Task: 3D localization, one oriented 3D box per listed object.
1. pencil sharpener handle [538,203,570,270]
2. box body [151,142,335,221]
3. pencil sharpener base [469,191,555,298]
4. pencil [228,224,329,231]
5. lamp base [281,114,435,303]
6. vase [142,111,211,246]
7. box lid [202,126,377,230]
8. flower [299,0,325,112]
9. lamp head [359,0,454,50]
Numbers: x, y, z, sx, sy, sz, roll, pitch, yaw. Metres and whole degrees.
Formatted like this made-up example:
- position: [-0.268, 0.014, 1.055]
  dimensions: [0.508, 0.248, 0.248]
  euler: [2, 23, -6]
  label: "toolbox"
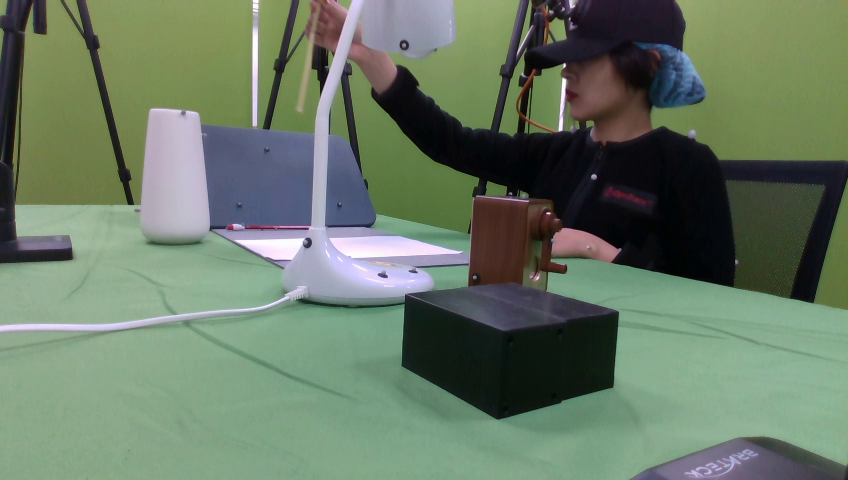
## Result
- position: [0.137, -0.003, 0.619]
  dimensions: [0.030, 0.067, 0.036]
  euler: [8, 4, 38]
  label: "pencil sharpener handle"
- position: [-0.413, -0.135, 1.379]
  dimensions: [0.366, 0.160, 0.253]
  euler: [-2, 9, -31]
  label: "box body"
- position: [0.097, 0.003, 0.652]
  dimensions: [0.076, 0.107, 0.061]
  euler: [8, 9, 38]
  label: "pencil sharpener base"
- position: [-0.265, -0.023, 1.124]
  dimensions: [0.195, 0.012, 0.012]
  euler: [-1, 8, -32]
  label: "pencil"
- position: [-0.071, -0.035, 0.614]
  dimensions: [0.160, 0.180, 0.180]
  euler: [6, 10, 27]
  label: "lamp base"
- position: [-0.378, -0.093, 0.920]
  dimensions: [0.098, 0.200, 0.098]
  euler: [2, 9, 0]
  label: "vase"
- position: [-0.290, -0.128, 1.237]
  dimensions: [0.373, 0.262, 0.015]
  euler: [-2, -35, -32]
  label: "box lid"
- position: [-0.179, -0.381, 1.041]
  dimensions: [0.038, 0.361, 0.044]
  euler: [15, -18, -23]
  label: "flower"
- position: [-0.024, -0.283, 0.674]
  dimensions: [0.112, 0.123, 0.112]
  euler: [-3, 38, 3]
  label: "lamp head"
